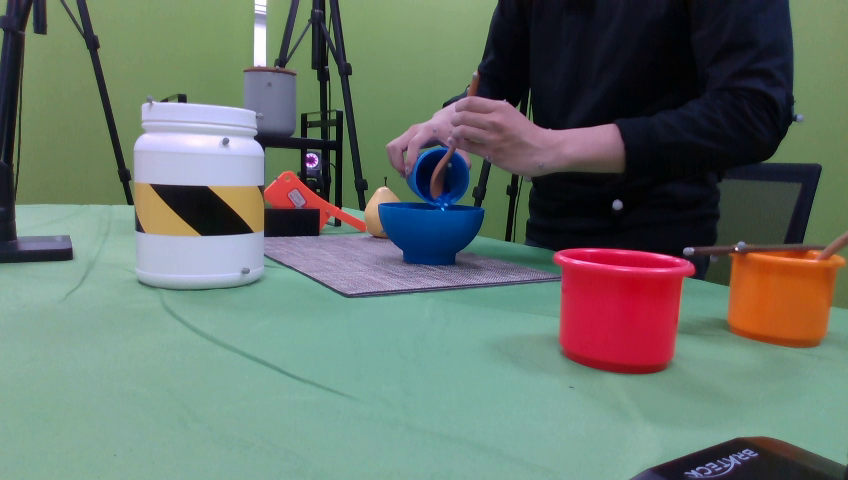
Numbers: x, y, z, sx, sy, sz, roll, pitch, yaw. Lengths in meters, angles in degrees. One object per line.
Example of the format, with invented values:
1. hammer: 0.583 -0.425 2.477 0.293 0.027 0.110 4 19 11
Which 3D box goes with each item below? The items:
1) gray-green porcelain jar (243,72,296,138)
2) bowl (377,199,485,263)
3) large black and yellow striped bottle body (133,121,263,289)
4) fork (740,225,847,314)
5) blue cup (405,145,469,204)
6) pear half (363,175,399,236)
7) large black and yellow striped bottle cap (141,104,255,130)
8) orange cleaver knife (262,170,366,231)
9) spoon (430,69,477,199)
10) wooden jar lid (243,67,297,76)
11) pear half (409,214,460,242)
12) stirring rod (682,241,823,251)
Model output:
1. gray-green porcelain jar: -0.322 -0.279 1.263 0.106 0.126 0.106 3 8 0
2. bowl: 0.008 -0.012 0.841 0.151 0.077 0.151 2 8 0
3. large black and yellow striped bottle body: -0.243 -0.048 0.659 0.131 0.184 0.130 2 7 0
4. fork: 0.323 0.013 0.485 0.028 0.018 0.207 8 -38 -5
5. blue cup: 0.012 -0.105 0.910 0.093 0.092 0.100 0 15 -16
6. pear half: -0.064 -0.061 1.077 0.055 0.110 0.077 9 14 39
7. large black and yellow striped bottle cap: -0.241 -0.131 0.650 0.115 0.019 0.115 3 8 0
8. orange cleaver knife: -0.201 -0.057 1.136 0.212 0.077 0.012 31 -3 -31
9. spoon: 0.042 -0.140 0.824 0.021 0.193 0.042 30 34 12
10. wooden jar lid: -0.319 -0.342 1.254 0.108 0.020 0.108 3 8 0
11. pear half: 0.012 -0.020 0.848 0.070 0.031 0.088 2 11 33
12. stirring rod: 0.289 0.005 0.525 0.177 0.006 0.014 -1 5 -26
